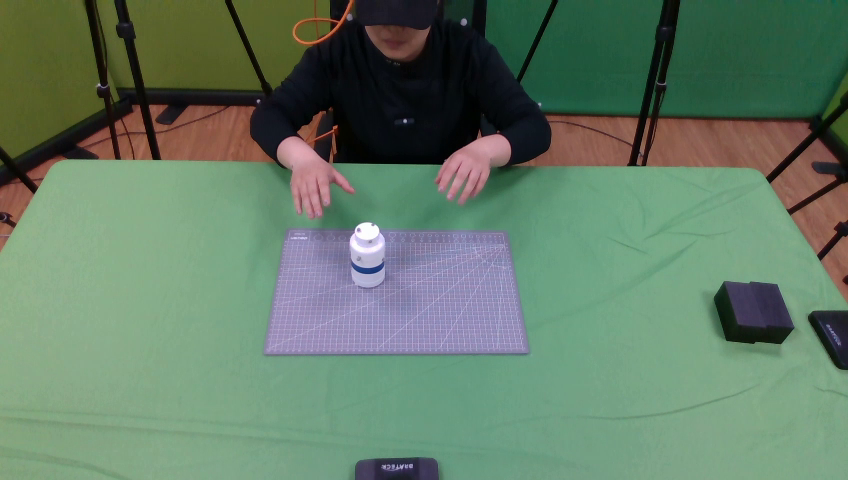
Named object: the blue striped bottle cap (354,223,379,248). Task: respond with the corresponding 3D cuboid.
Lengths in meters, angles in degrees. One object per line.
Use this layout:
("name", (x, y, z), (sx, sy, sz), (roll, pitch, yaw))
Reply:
("blue striped bottle cap", (-0.100, -0.009, 1.057), (0.044, 0.021, 0.044), (2, 46, -1))

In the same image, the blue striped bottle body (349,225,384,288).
("blue striped bottle body", (-0.103, 0.026, 1.093), (0.063, 0.121, 0.062), (2, 46, -2))
